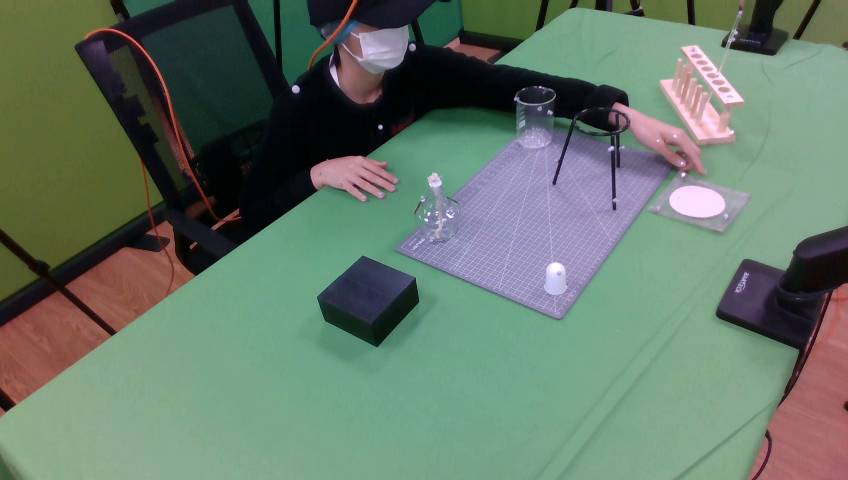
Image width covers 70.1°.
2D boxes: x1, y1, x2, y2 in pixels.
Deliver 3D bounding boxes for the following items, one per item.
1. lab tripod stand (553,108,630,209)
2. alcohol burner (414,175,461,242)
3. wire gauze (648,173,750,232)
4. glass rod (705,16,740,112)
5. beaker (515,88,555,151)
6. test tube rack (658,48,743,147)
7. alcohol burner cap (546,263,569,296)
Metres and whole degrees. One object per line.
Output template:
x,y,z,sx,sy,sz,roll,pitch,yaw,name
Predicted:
0.292,-0.144,1.010,0.148,0.132,0.147,-5,38,4,lab tripod stand
0.021,-0.055,0.963,0.078,0.119,0.077,-4,41,4,alcohol burner
0.451,-0.062,0.990,0.120,0.011,0.125,26,49,32,wire gauze
0.550,-0.319,1.117,0.008,0.200,0.008,-2,47,3,glass rod
0.213,-0.230,1.152,0.073,0.101,0.084,20,47,29,beaker
0.532,-0.284,1.180,0.067,0.085,0.241,-5,40,4,test tube rack
0.191,0.053,0.862,0.034,0.048,0.033,-5,40,4,alcohol burner cap
